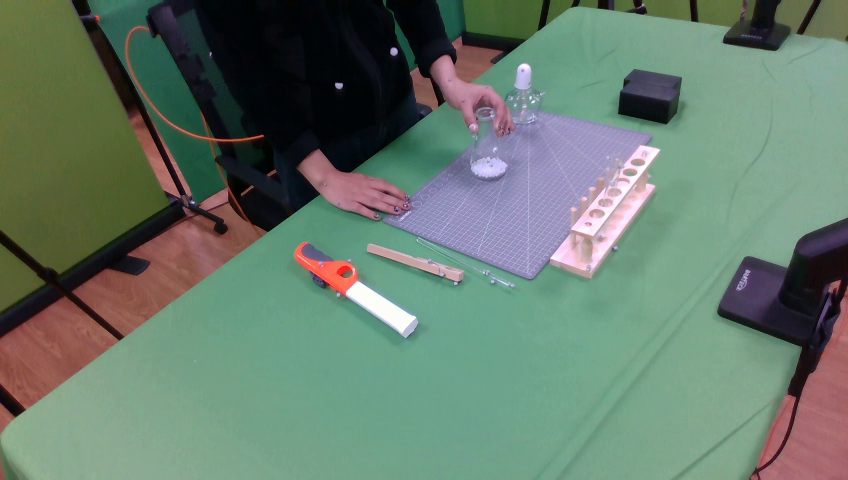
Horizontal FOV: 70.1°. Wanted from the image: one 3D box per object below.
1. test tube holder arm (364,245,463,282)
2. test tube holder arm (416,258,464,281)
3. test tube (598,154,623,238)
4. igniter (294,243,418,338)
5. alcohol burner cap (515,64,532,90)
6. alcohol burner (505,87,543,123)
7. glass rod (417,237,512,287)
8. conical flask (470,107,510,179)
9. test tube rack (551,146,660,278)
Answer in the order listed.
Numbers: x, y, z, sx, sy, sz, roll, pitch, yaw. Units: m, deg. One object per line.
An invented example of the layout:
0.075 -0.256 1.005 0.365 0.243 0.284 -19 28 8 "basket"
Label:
-0.020 0.035 0.947 0.177 0.015 0.013 16 9 26 "test tube holder arm"
0.022 0.045 0.931 0.087 0.015 0.010 16 10 28 "test tube holder arm"
0.269 -0.059 0.876 0.017 0.151 0.017 -2 43 3 "test tube"
-0.114 0.070 0.919 0.274 0.025 0.057 29 63 37 "igniter"
0.199 -0.325 1.198 0.034 0.048 0.033 0 45 1 "alcohol burner cap"
0.202 -0.298 1.222 0.078 0.119 0.077 -4 40 4 "alcohol burner"
0.059 0.033 0.945 0.198 0.008 0.008 26 52 38 "glass rod"
0.114 -0.176 1.081 0.075 0.122 0.075 -6 42 6 "conical flask"
0.286 -0.053 0.943 0.066 0.085 0.243 21 49 32 "test tube rack"
